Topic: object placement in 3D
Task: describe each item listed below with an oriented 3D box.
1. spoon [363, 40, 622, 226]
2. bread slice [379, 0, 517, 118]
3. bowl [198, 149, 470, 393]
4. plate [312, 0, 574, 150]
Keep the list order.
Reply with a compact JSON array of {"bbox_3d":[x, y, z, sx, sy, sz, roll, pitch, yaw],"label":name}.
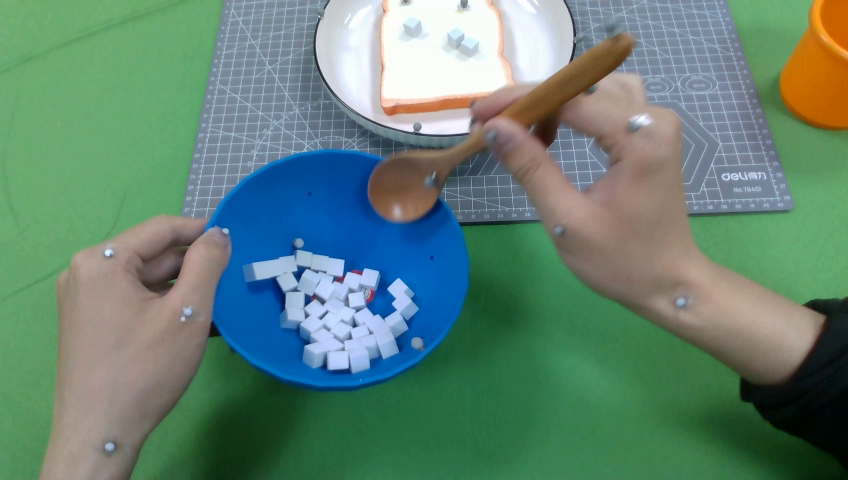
[{"bbox_3d":[0.022,-0.045,0.309,0.021,0.193,0.042,-44,101,-33],"label":"spoon"},{"bbox_3d":[0.011,-0.159,0.503,0.107,0.018,0.133,-9,64,0],"label":"bread slice"},{"bbox_3d":[-0.053,0.028,0.372,0.152,0.077,0.150,5,61,-8],"label":"bowl"},{"bbox_3d":[0.014,-0.156,0.498,0.209,0.038,0.207,-1,63,3],"label":"plate"}]
